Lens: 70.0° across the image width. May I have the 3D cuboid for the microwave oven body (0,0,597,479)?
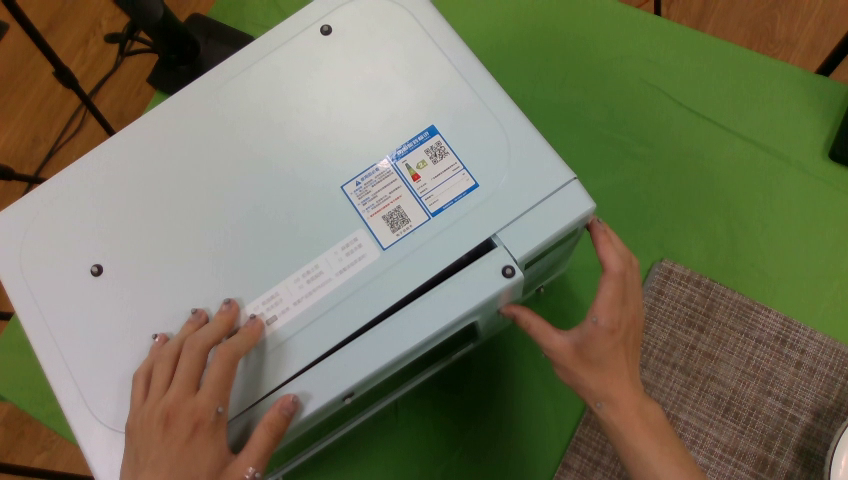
[{"bbox_3d":[-0.116,-0.002,0.612,0.442,0.261,0.324,-35,75,-2],"label":"microwave oven body"}]

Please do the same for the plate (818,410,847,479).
[{"bbox_3d":[0.492,0.248,0.590,0.207,0.039,0.206,-2,76,6],"label":"plate"}]

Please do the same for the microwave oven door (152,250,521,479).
[{"bbox_3d":[-0.066,0.139,0.565,0.356,0.245,0.039,-33,73,-2],"label":"microwave oven door"}]

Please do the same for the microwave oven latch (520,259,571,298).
[{"bbox_3d":[0.125,0.036,0.674,0.079,0.029,0.030,-33,75,-2],"label":"microwave oven latch"}]
